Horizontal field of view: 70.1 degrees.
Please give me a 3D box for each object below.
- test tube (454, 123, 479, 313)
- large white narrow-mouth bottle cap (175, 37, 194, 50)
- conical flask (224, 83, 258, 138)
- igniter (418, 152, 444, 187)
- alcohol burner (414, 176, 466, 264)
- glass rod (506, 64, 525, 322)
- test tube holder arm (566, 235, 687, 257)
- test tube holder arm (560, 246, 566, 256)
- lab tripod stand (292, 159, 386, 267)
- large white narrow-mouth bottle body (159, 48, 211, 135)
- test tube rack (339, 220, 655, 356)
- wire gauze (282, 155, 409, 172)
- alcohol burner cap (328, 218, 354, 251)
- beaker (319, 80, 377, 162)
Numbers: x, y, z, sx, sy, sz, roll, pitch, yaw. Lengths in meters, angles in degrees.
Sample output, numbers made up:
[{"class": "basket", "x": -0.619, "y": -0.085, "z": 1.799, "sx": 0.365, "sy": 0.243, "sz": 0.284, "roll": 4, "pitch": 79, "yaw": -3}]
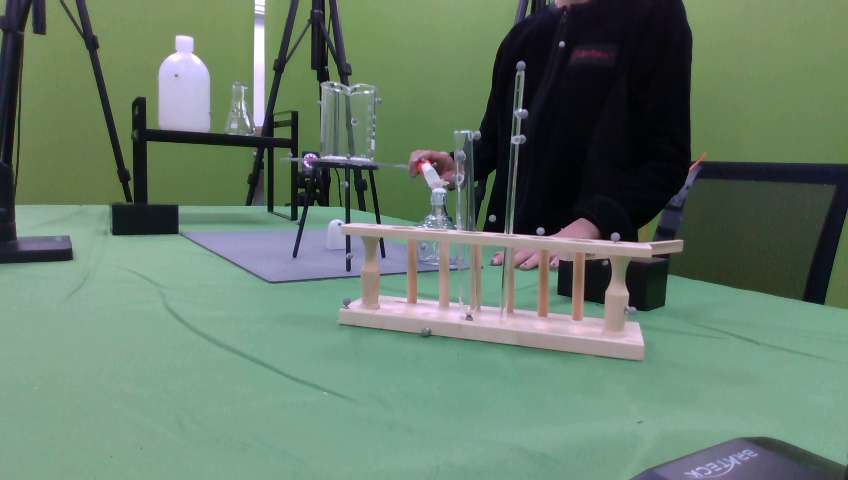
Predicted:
[{"class": "test tube", "x": 0.034, "y": -0.016, "z": 0.477, "sx": 0.017, "sy": 0.150, "sz": 0.017, "roll": -2, "pitch": 9, "yaw": 1}, {"class": "large white narrow-mouth bottle cap", "x": -0.501, "y": -0.409, "z": 1.264, "sx": 0.038, "sy": 0.024, "sz": 0.037, "roll": 2, "pitch": 7, "yaw": 0}, {"class": "conical flask", "x": -0.422, "y": -0.299, "z": 1.395, "sx": 0.075, "sy": 0.122, "sz": 0.075, "roll": 2, "pitch": 7, "yaw": 0}, {"class": "igniter", "x": 0.009, "y": -0.113, "z": 0.971, "sx": 0.025, "sy": 0.057, "sz": 0.276, "roll": -28, "pitch": 10, "yaw": 3}, {"class": "alcohol burner", "x": 0.021, "y": -0.028, "z": 0.826, "sx": 0.078, "sy": 0.119, "sz": 0.078, "roll": 0, "pitch": 6, "yaw": 0}, {"class": "glass rod", "x": 0.069, "y": -0.030, "z": 0.458, "sx": 0.008, "sy": 0.199, "sz": 0.008, "roll": 0, "pitch": 15, "yaw": 0}, {"class": "test tube holder arm", "x": 0.215, "y": 0.006, "z": 0.630, "sx": 0.179, "sy": 0.015, "sz": 0.013, "roll": -3, "pitch": 9, "yaw": -31}, {"class": "test tube holder arm", "x": 0.173, "y": 0.007, "z": 0.612, "sx": 0.088, "sy": 0.015, "sz": 0.010, "roll": -3, "pitch": 9, "yaw": -30}, {"class": "lab tripod stand", "x": -0.105, "y": -0.039, "z": 0.798, "sx": 0.148, "sy": 0.131, "sz": 0.148, "roll": 2, "pitch": 5, "yaw": 0}, {"class": "large white narrow-mouth bottle body", "x": -0.503, "y": -0.323, "z": 1.275, "sx": 0.102, "sy": 0.194, "sz": 0.102, "roll": 2, "pitch": 7, "yaw": 0}, {"class": "test tube rack", "x": 0.056, "y": 0.032, "z": 0.495, "sx": 0.242, "sy": 0.085, "sz": 0.067, "roll": 4, "pitch": 7, "yaw": 15}, {"class": "wire gauze", "x": -0.104, "y": -0.103, "z": 0.785, "sx": 0.126, "sy": 0.011, "sz": 0.121, "roll": 1, "pitch": 8, "yaw": -39}, {"class": "alcohol burner cap", "x": -0.129, "y": -0.011, "z": 0.929, "sx": 0.034, "sy": 0.048, "sz": 0.034, "roll": -13, "pitch": 15, "yaw": 4}, {"class": "beaker", "x": -0.098, "y": -0.150, "z": 0.777, "sx": 0.074, "sy": 0.100, "sz": 0.084, "roll": 1, "pitch": 7, "yaw": -7}]
